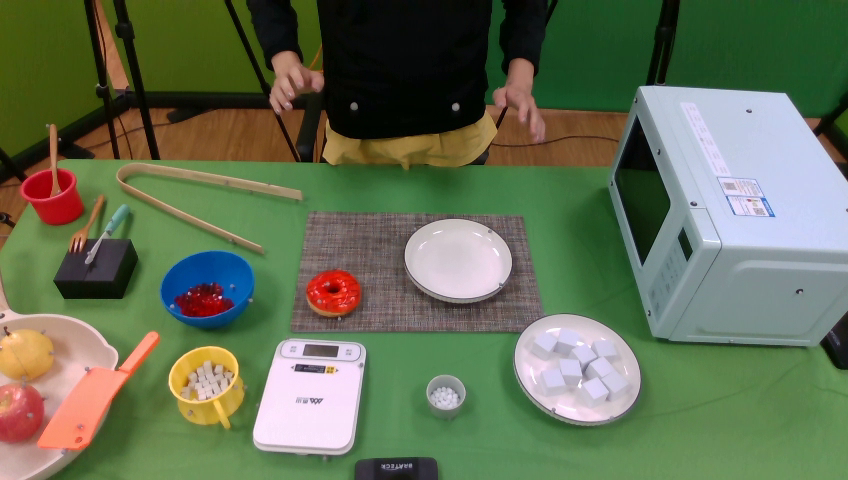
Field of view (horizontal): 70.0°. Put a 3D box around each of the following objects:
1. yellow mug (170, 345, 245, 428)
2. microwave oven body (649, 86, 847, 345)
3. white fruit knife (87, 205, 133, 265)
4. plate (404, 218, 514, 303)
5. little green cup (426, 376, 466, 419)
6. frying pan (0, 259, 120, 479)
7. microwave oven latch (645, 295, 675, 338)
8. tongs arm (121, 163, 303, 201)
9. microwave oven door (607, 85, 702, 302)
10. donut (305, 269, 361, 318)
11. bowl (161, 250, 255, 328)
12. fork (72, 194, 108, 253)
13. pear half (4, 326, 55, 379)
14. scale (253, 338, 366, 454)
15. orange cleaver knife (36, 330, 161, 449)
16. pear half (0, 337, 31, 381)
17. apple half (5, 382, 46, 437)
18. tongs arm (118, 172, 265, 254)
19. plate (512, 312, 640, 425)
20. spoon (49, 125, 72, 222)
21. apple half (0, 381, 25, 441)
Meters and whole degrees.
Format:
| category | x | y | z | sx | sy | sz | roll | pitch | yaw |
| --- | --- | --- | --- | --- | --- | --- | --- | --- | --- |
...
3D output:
| category | x | y | z | sx | sy | sz | roll | pitch | yaw |
| --- | --- | --- | --- | --- | --- | --- | --- | --- | --- |
| yellow mug | -0.322 | 0.230 | 0.922 | 0.100 | 0.064 | 0.130 | -24 | 53 | -25 |
| microwave oven body | 0.567 | -0.053 | 1.118 | 0.326 | 0.261 | 0.439 | 2 | 45 | -1 |
| white fruit knife | -0.584 | -0.013 | 1.129 | 0.016 | 0.027 | 0.206 | 0 | 31 | -5 |
| plate | 0.064 | 0.042 | 1.146 | 0.209 | 0.038 | 0.208 | 3 | 46 | -2 |
| little green cup | 0.033 | 0.248 | 0.950 | 0.061 | 0.039 | 0.061 | 2 | 46 | -2 |
| frying pan | -0.647 | 0.164 | 0.936 | 0.307 | 0.103 | 0.485 | -19 | 58 | -22 |
| microwave oven latch | 0.411 | 0.134 | 1.061 | 0.030 | 0.029 | 0.078 | 3 | 45 | 0 |
| tongs arm | -0.444 | -0.114 | 1.266 | 0.384 | 0.026 | 0.050 | 12 | 51 | 8 |
| microwave oven door | 0.423 | -0.094 | 1.140 | 0.039 | 0.245 | 0.353 | 2 | 46 | -1 |
| donut | -0.160 | 0.094 | 1.075 | 0.099 | 0.048 | 0.098 | 4 | 45 | -3 |
| bowl | -0.362 | 0.098 | 1.039 | 0.151 | 0.077 | 0.150 | 2 | 45 | -2 |
| fork | -0.634 | -0.036 | 1.158 | 0.028 | 0.019 | 0.206 | -8 | 32 | -8 |
| pear half | -0.609 | 0.159 | 0.933 | 0.076 | 0.110 | 0.056 | 32 | 52 | 20 |
| scale | -0.175 | 0.236 | 0.951 | 0.149 | 0.032 | 0.199 | 4 | 45 | -1 |
| orange cleaver knife | -0.466 | 0.210 | 0.880 | 0.077 | 0.012 | 0.210 | 15 | 46 | 9 |
| pear half | -0.632 | 0.185 | 0.920 | 0.070 | 0.088 | 0.031 | 29 | 49 | 20 |
| apple half | -0.567 | 0.244 | 0.877 | 0.033 | 0.082 | 0.080 | -9 | 47 | -7 |
| tongs arm | -0.473 | -0.054 | 1.211 | 0.386 | 0.028 | 0.028 | 23 | 57 | 17 |
| plate | 0.246 | 0.213 | 0.999 | 0.208 | 0.039 | 0.206 | 2 | 46 | -2 |
| spoon | -0.718 | -0.131 | 1.189 | 0.041 | 0.021 | 0.193 | -4 | 90 | -7 |
| apple half | -0.604 | 0.250 | 0.871 | 0.053 | 0.075 | 0.080 | -9 | 51 | -7 |
